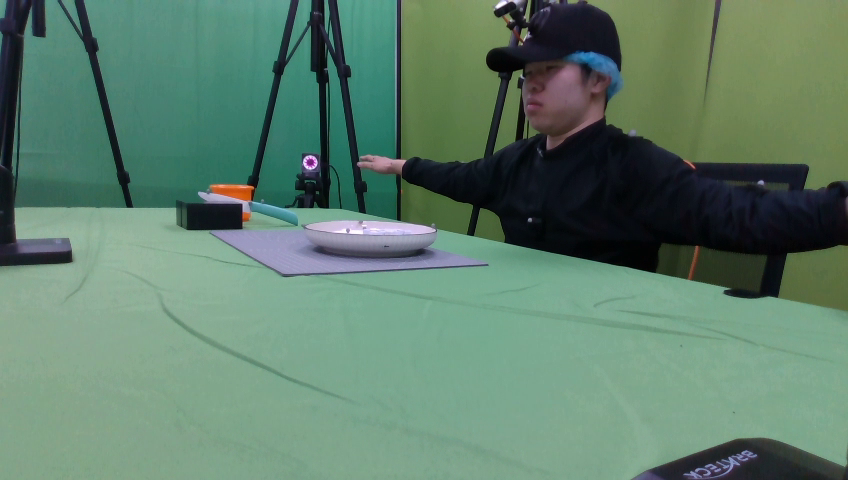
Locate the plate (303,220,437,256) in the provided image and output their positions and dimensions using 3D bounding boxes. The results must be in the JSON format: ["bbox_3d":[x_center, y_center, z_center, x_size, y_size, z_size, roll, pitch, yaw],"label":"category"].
[{"bbox_3d":[-0.084,-0.003,0.951,0.209,0.038,0.209,3,7,0],"label":"plate"}]

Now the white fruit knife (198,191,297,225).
[{"bbox_3d":[-0.351,-0.068,1.224,0.208,0.027,0.016,15,-1,-33],"label":"white fruit knife"}]

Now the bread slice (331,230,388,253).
[{"bbox_3d":[-0.088,0.000,0.947,0.105,0.019,0.131,-4,11,-44],"label":"bread slice"}]
